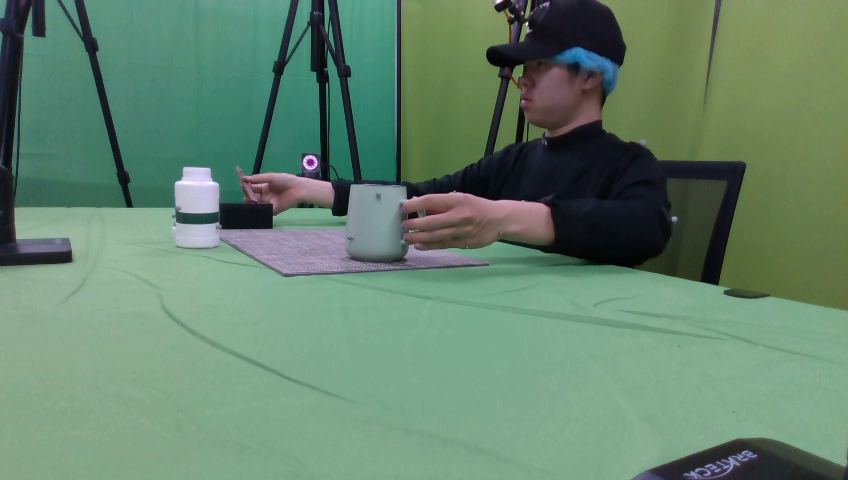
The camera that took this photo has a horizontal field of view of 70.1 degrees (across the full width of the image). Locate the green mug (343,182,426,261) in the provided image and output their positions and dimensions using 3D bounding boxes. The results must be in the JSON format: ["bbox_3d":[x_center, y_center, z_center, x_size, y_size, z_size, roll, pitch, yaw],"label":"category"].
[{"bbox_3d":[-0.053,-0.026,0.848,0.125,0.105,0.093,6,8,28],"label":"green mug"}]

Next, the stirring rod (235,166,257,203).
[{"bbox_3d":[-0.371,-0.117,1.253,0.014,0.006,0.175,27,13,-38],"label":"stirring rod"}]

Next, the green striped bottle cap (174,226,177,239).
[{"bbox_3d":[-0.404,-0.015,1.036,0.044,0.020,0.044,-1,10,0],"label":"green striped bottle cap"}]

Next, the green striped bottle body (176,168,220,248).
[{"bbox_3d":[-0.345,-0.050,0.924,0.063,0.119,0.063,2,7,0],"label":"green striped bottle body"}]
